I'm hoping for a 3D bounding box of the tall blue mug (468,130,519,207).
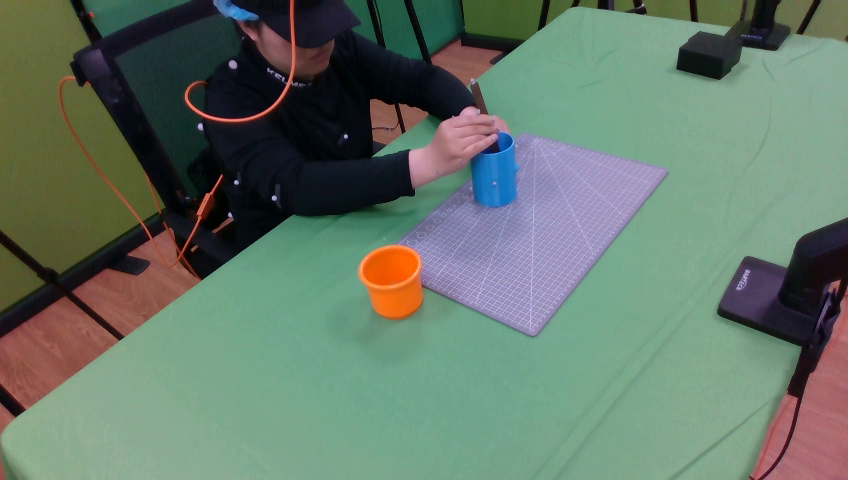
[{"bbox_3d":[0.114,-0.131,1.045,0.078,0.108,0.106,-20,41,-10],"label":"tall blue mug"}]

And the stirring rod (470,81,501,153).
[{"bbox_3d":[0.107,-0.183,0.992,0.014,0.177,0.005,-35,40,-10],"label":"stirring rod"}]
